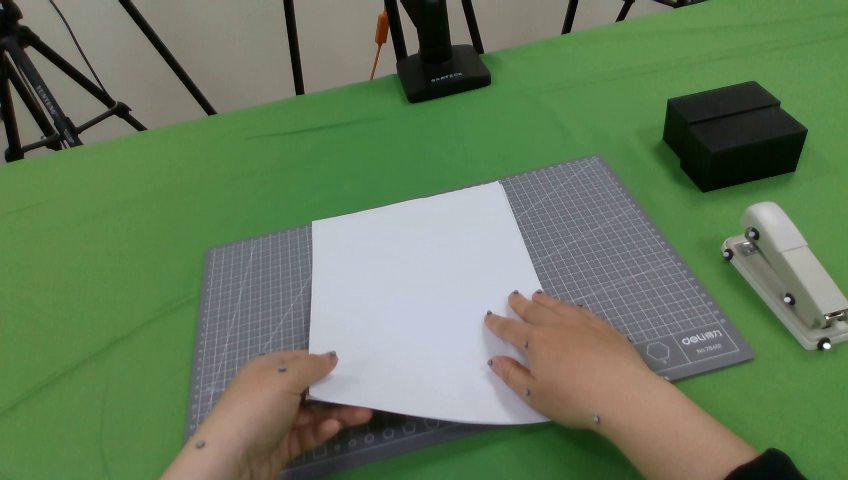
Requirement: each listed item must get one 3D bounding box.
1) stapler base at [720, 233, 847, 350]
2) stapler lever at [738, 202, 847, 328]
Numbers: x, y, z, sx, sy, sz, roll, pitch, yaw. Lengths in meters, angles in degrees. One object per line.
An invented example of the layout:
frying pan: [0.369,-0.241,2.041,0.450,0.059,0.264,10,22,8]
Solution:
stapler base: [0.300,0.033,0.507,0.041,0.025,0.129,-16,44,-2]
stapler lever: [0.297,0.015,0.488,0.027,0.040,0.116,-16,44,-2]
